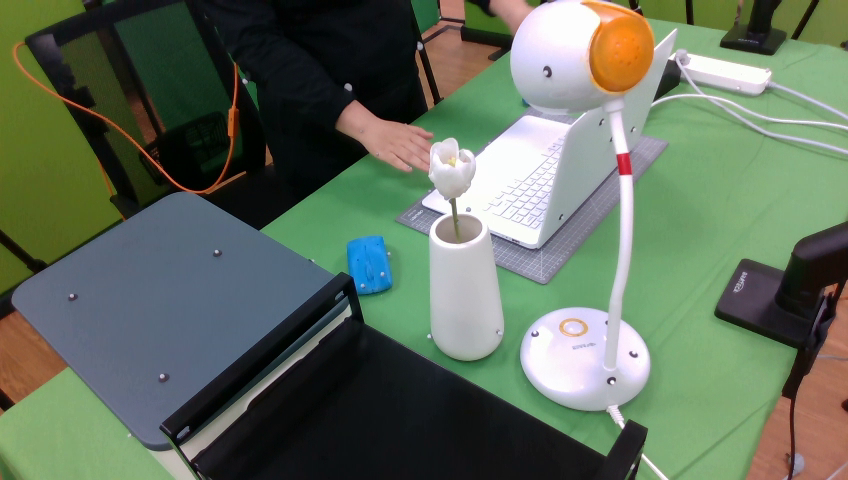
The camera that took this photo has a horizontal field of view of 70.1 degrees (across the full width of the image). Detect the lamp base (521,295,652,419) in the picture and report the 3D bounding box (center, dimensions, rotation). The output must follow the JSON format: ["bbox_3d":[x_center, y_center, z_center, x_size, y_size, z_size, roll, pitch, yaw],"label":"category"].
[{"bbox_3d":[0.200,0.095,0.710,0.161,0.181,0.177,-17,43,-10],"label":"lamp base"}]

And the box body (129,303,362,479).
[{"bbox_3d":[-0.285,0.123,0.766,0.361,0.161,0.255,25,49,33],"label":"box body"}]

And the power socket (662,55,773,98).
[{"bbox_3d":[0.619,-0.353,1.289,0.225,0.033,0.072,26,51,33],"label":"power socket"}]

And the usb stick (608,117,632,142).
[{"bbox_3d":[0.370,-0.207,1.147,0.021,0.027,0.059,28,55,32],"label":"usb stick"}]

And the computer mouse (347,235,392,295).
[{"bbox_3d":[-0.086,0.035,0.936,0.063,0.041,0.116,-8,45,-5],"label":"computer mouse"}]

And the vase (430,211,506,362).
[{"bbox_3d":[0.054,0.062,0.757,0.098,0.201,0.097,-3,40,3],"label":"vase"}]

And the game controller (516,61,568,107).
[{"bbox_3d":[0.259,-0.352,1.336,0.097,0.052,0.154,-3,40,2],"label":"game controller"}]

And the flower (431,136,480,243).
[{"bbox_3d":[0.041,0.011,0.691,0.044,0.363,0.038,16,62,14],"label":"flower"}]

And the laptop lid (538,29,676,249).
[{"bbox_3d":[0.288,-0.159,0.939,0.013,0.242,0.358,31,51,24],"label":"laptop lid"}]

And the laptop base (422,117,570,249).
[{"bbox_3d":[0.192,-0.116,1.087,0.233,0.023,0.355,21,48,34],"label":"laptop base"}]

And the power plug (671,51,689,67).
[{"bbox_3d":[0.541,-0.378,1.301,0.073,0.053,0.035,-32,46,-24],"label":"power plug"}]

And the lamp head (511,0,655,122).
[{"bbox_3d":[0.155,-0.168,0.564,0.113,0.113,0.122,-18,23,-12],"label":"lamp head"}]

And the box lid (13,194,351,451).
[{"bbox_3d":[-0.292,0.067,0.717,0.368,0.015,0.264,25,50,33],"label":"box lid"}]
